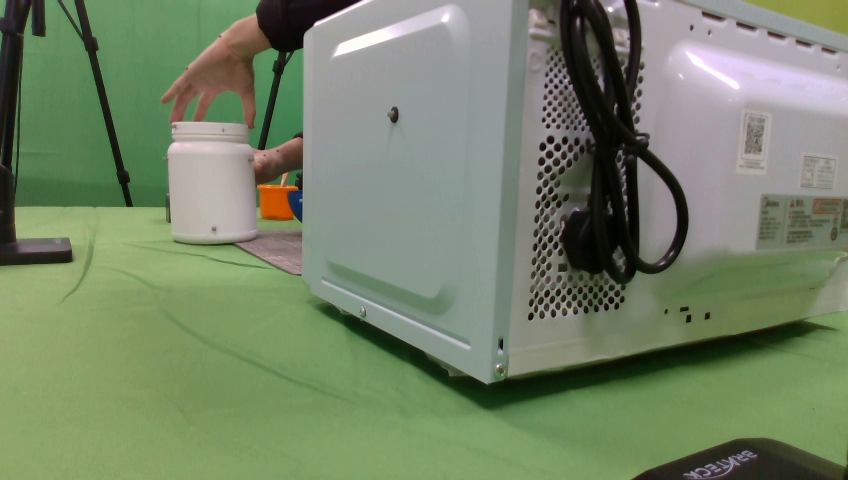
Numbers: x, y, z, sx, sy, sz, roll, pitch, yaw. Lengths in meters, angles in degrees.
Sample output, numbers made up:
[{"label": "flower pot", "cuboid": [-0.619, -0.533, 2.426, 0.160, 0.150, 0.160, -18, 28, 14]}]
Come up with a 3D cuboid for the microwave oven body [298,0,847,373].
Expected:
[{"label": "microwave oven body", "cuboid": [0.151, -0.055, 0.543, 0.444, 0.260, 0.324, -2, 7, -33]}]

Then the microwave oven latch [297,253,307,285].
[{"label": "microwave oven latch", "cuboid": [-0.082, 0.027, 0.582, 0.079, 0.029, 0.030, -1, 7, -32]}]

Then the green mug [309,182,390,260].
[{"label": "green mug", "cuboid": [-0.102, -0.029, 0.864, 0.126, 0.105, 0.092, -3, 8, -40]}]

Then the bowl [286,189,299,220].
[{"label": "bowl", "cuboid": [-0.179, -0.051, 1.114, 0.151, 0.077, 0.151, 2, 8, 0]}]

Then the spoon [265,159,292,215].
[{"label": "spoon", "cuboid": [-0.334, -0.128, 1.424, 0.041, 0.021, 0.193, 2, 52, 5]}]

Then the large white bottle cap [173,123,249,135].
[{"label": "large white bottle cap", "cuboid": [-0.339, -0.176, 0.964, 0.115, 0.018, 0.115, 0, 9, 0]}]

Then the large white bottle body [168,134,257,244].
[{"label": "large white bottle body", "cuboid": [-0.340, -0.092, 0.977, 0.131, 0.184, 0.130, 0, 7, 0]}]

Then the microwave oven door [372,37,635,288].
[{"label": "microwave oven door", "cuboid": [0.110, -0.080, 0.686, 0.358, 0.243, 0.039, -2, 8, -33]}]

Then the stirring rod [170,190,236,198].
[{"label": "stirring rod", "cuboid": [-0.465, -0.098, 1.283, 0.014, 0.006, 0.177, 42, 22, 17]}]
